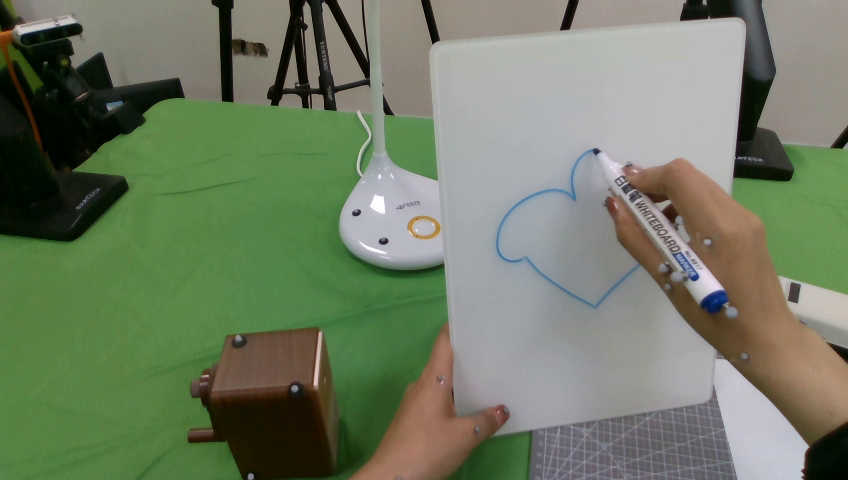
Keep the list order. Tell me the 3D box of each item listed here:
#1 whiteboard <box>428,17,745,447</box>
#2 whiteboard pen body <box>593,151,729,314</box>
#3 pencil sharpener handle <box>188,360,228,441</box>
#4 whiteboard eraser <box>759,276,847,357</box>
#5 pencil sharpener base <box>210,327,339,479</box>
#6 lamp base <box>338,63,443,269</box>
[{"bbox_3d":[0.113,-0.014,0.504,0.217,0.307,0.143,-7,20,-5],"label":"whiteboard"},{"bbox_3d":[0.139,-0.012,0.374,0.017,0.017,0.139,-13,49,-14],"label":"whiteboard pen body"},{"bbox_3d":[-0.159,0.119,0.437,0.031,0.068,0.035,-4,26,-2],"label":"pencil sharpener handle"},{"bbox_3d":[0.368,0.074,0.547,0.112,0.042,0.055,19,44,24],"label":"whiteboard eraser"},{"bbox_3d":[-0.108,0.123,0.450,0.077,0.108,0.060,-4,39,-2],"label":"pencil sharpener base"},{"bbox_3d":[-0.027,-0.087,0.654,0.161,0.182,0.177,-26,42,-27],"label":"lamp base"}]
